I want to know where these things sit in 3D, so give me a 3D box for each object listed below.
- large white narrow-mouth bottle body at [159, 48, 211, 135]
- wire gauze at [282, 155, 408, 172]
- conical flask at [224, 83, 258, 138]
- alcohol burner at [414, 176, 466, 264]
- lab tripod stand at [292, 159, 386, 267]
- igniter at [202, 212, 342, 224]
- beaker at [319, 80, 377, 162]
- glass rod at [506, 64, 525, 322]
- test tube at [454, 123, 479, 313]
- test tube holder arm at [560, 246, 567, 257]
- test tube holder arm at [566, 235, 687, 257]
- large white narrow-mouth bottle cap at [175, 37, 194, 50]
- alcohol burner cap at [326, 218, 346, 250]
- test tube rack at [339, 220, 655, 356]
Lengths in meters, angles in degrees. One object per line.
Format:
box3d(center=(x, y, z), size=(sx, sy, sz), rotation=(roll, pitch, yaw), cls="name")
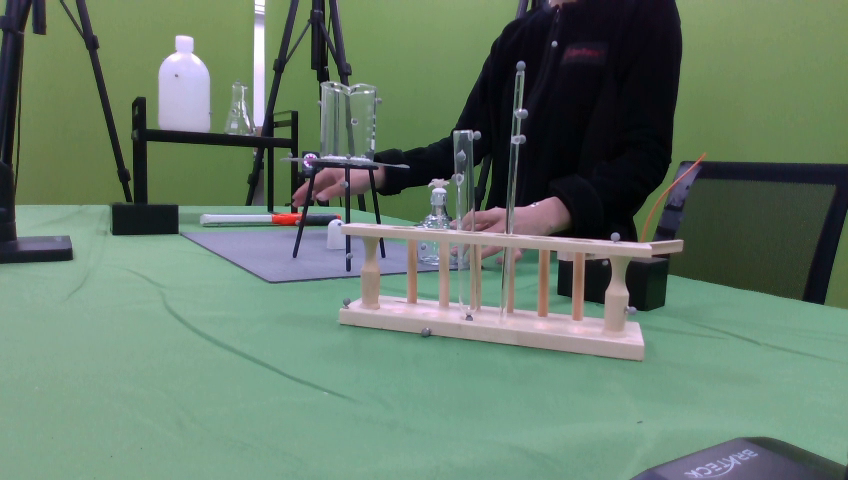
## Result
box3d(center=(-0.503, -0.323, 1.275), size=(0.102, 0.194, 0.102), rotation=(2, 7, 0), cls="large white narrow-mouth bottle body")
box3d(center=(-0.104, -0.103, 0.785), size=(0.126, 0.011, 0.121), rotation=(1, 8, -39), cls="wire gauze")
box3d(center=(-0.422, -0.299, 1.395), size=(0.075, 0.122, 0.075), rotation=(2, 7, 0), cls="conical flask")
box3d(center=(0.021, -0.028, 0.826), size=(0.078, 0.119, 0.078), rotation=(0, 6, 0), cls="alcohol burner")
box3d(center=(-0.105, -0.039, 0.798), size=(0.148, 0.131, 0.148), rotation=(2, 5, 0), cls="lab tripod stand")
box3d(center=(-0.298, -0.044, 1.216), size=(0.278, 0.025, 0.057), rotation=(-2, -2, -33), cls="igniter")
box3d(center=(-0.098, -0.150, 0.777), size=(0.074, 0.100, 0.084), rotation=(1, 7, -7), cls="beaker")
box3d(center=(0.069, -0.030, 0.458), size=(0.008, 0.199, 0.008), rotation=(0, 15, 0), cls="glass rod")
box3d(center=(0.034, -0.016, 0.477), size=(0.017, 0.150, 0.017), rotation=(-2, 9, 1), cls="test tube")
box3d(center=(0.173, 0.007, 0.611), size=(0.088, 0.015, 0.010), rotation=(-3, 9, -30), cls="test tube holder arm")
box3d(center=(0.215, 0.006, 0.630), size=(0.179, 0.015, 0.013), rotation=(-3, 9, -31), cls="test tube holder arm")
box3d(center=(-0.501, -0.410, 1.264), size=(0.038, 0.024, 0.037), rotation=(2, 7, 0), cls="large white narrow-mouth bottle cap")
box3d(center=(-0.133, -0.010, 0.927), size=(0.034, 0.048, 0.034), rotation=(5, 7, 0), cls="alcohol burner cap")
box3d(center=(0.056, 0.032, 0.495), size=(0.242, 0.085, 0.067), rotation=(4, 7, 15), cls="test tube rack")
